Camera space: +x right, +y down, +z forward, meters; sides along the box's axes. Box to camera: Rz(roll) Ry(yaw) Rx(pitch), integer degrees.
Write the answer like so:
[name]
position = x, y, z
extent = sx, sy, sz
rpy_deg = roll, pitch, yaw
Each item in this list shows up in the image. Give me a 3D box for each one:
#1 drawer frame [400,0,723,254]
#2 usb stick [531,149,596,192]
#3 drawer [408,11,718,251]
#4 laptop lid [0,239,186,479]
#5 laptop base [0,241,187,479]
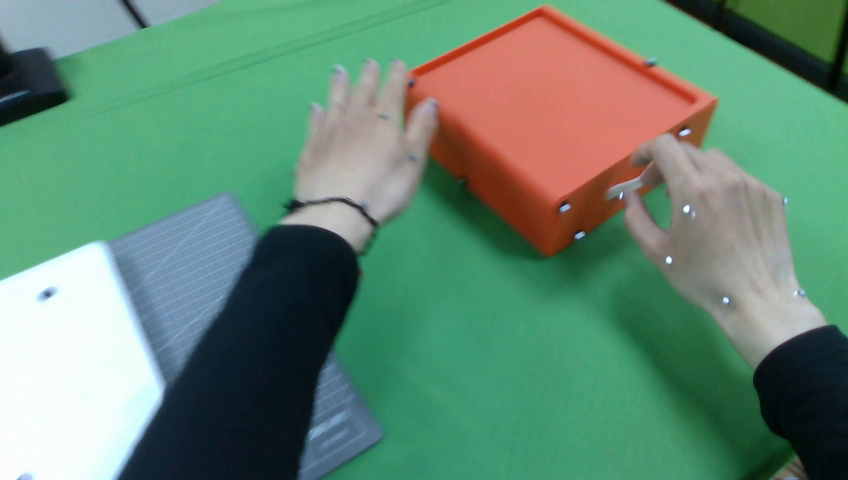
[drawer frame]
position = 0.120, -0.117, 0.570
extent = 0.201, 0.083, 0.211
rpy_deg = -33, 56, -20
[usb stick]
position = 0.129, -0.065, 0.550
extent = 0.059, 0.027, 0.021
rpy_deg = -13, 57, -7
[drawer]
position = 0.121, -0.116, 0.570
extent = 0.194, 0.074, 0.209
rpy_deg = -32, 56, -19
[laptop lid]
position = -0.367, 0.149, 0.413
extent = 0.357, 0.013, 0.239
rpy_deg = -26, 57, -16
[laptop base]
position = -0.367, 0.155, 0.424
extent = 0.354, 0.023, 0.233
rpy_deg = -27, 58, -18
